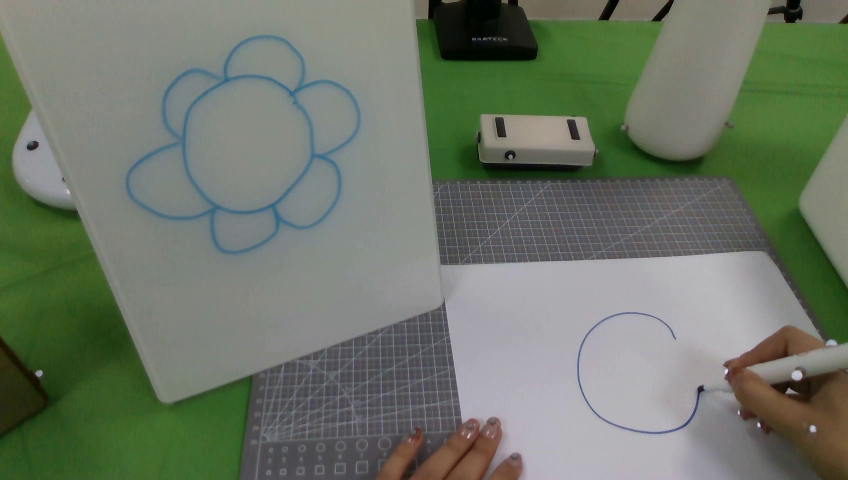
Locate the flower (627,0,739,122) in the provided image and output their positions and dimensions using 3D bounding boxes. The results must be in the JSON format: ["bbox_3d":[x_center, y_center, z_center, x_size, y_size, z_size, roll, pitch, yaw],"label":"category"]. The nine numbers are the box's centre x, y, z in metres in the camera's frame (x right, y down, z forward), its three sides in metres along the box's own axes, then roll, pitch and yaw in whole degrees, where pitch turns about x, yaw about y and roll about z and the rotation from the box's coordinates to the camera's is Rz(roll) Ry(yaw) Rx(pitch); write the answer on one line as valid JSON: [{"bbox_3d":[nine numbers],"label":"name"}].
[{"bbox_3d":[0.280,-0.220,0.511,0.044,0.363,0.038,-22,70,-31],"label":"flower"}]

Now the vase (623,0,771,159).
[{"bbox_3d":[0.264,-0.175,0.580,0.098,0.201,0.097,3,48,-3],"label":"vase"}]

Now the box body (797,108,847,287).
[{"bbox_3d":[0.485,0.032,0.435,0.254,0.162,0.360,-1,48,-4],"label":"box body"}]

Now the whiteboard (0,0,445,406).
[{"bbox_3d":[-0.122,-0.076,0.427,0.218,0.308,0.142,-17,32,-18],"label":"whiteboard"}]

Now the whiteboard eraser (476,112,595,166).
[{"bbox_3d":[0.109,-0.100,0.606,0.113,0.042,0.055,0,46,-3],"label":"whiteboard eraser"}]

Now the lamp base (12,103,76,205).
[{"bbox_3d":[-0.305,-0.148,0.522,0.178,0.182,0.160,29,52,24],"label":"lamp base"}]

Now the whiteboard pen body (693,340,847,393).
[{"bbox_3d":[0.231,0.083,0.390,0.017,0.141,0.017,12,62,-24],"label":"whiteboard pen body"}]

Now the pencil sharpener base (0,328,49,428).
[{"bbox_3d":[-0.299,0.068,0.376,0.076,0.108,0.061,35,55,25],"label":"pencil sharpener base"}]
